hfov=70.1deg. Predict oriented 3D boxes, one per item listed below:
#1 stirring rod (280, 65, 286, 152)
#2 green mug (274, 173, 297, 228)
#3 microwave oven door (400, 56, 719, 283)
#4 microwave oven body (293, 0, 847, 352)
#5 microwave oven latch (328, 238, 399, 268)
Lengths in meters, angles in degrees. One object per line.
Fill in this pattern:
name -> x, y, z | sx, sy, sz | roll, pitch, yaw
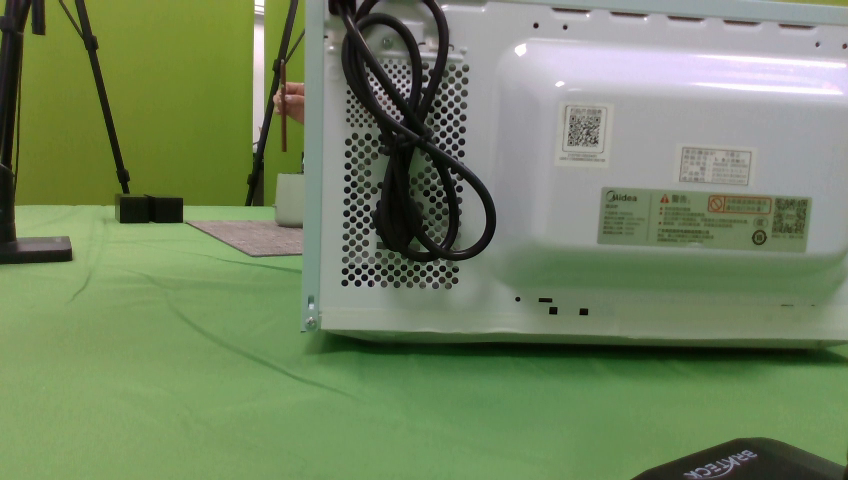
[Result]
stirring rod -> -0.287, -0.266, 1.226 | 0.006, 0.176, 0.014 | 2, 4, 19
green mug -> -0.242, -0.081, 1.221 | 0.092, 0.105, 0.126 | 8, 9, 40
microwave oven door -> 0.155, -0.078, 0.697 | 0.356, 0.243, 0.039 | 2, 8, -5
microwave oven body -> 0.122, -0.055, 0.550 | 0.442, 0.260, 0.325 | 3, 7, -5
microwave oven latch -> -0.069, 0.015, 0.694 | 0.079, 0.029, 0.030 | 3, 7, -3
